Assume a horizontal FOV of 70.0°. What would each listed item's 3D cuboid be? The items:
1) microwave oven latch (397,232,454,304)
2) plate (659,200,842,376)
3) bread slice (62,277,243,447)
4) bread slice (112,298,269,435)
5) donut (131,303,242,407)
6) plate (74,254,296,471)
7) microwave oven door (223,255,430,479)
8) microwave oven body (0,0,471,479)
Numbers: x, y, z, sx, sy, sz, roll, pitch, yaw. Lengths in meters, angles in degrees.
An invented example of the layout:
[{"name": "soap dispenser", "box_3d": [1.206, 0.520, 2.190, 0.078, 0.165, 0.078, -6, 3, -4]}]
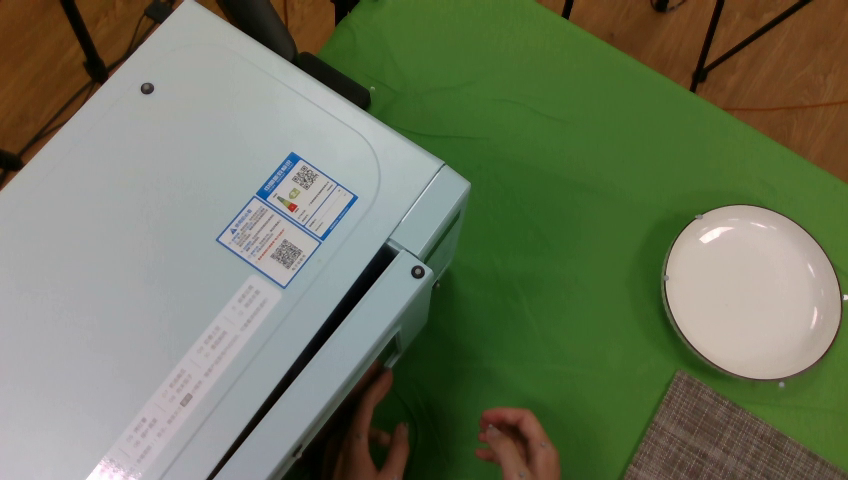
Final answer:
[{"name": "microwave oven latch", "box_3d": [0.002, 0.033, 0.685, 0.030, 0.029, 0.079, 38, 77, 8]}, {"name": "plate", "box_3d": [0.375, 0.055, 0.711, 0.208, 0.039, 0.206, 1, 74, -2]}, {"name": "bread slice", "box_3d": [-0.237, 0.100, 0.551, 0.107, 0.018, 0.134, 45, 69, 0]}, {"name": "bread slice", "box_3d": [-0.240, 0.132, 0.616, 0.131, 0.019, 0.104, -35, 80, -32]}, {"name": "donut", "box_3d": [-0.224, 0.109, 0.576, 0.099, 0.048, 0.098, 4, 72, -13]}, {"name": "plate", "box_3d": [-0.231, 0.118, 0.603, 0.209, 0.038, 0.208, 1, 76, -5]}, {"name": "microwave oven door", "box_3d": [-0.120, 0.178, 0.533, 0.039, 0.245, 0.355, 37, 76, 7]}, {"name": "microwave oven body", "box_3d": [-0.218, 0.064, 0.569, 0.325, 0.261, 0.440, 34, 76, 7]}]
